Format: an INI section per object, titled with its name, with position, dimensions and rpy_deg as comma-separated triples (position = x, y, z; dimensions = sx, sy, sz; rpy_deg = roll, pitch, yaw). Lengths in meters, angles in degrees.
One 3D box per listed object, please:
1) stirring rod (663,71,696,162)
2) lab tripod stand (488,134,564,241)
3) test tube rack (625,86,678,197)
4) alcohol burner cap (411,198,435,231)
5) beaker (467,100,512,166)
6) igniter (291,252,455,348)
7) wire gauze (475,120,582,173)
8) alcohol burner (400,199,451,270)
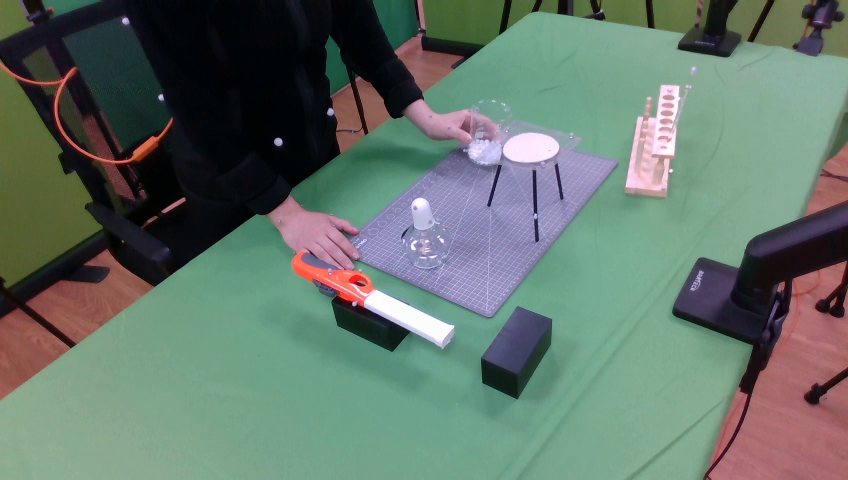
[stirring rod]
position = 0.410, -0.195, 0.981
dimensions = 0.014, 0.177, 0.006
rpy_deg = 12, 50, 14
[lab tripod stand]
position = 0.168, -0.092, 0.972
dimensions = 0.148, 0.132, 0.147
rpy_deg = -5, 41, 5
[test tube rack]
position = 0.412, -0.184, 1.088
dimensions = 0.066, 0.085, 0.242
rpy_deg = 9, 43, 18
[alcohol burner cap]
position = -0.003, -0.040, 0.893
dimensions = 0.034, 0.048, 0.033
rpy_deg = -7, 41, 7
[beaker]
position = 0.119, -0.193, 1.100
dimensions = 0.084, 0.100, 0.073
rpy_deg = -25, 50, -28
[igniter]
position = -0.080, 0.076, 0.822
dimensions = 0.274, 0.025, 0.057
rpy_deg = 23, 45, 27
[wire gauze]
position = 0.161, -0.143, 0.928
dimensions = 0.120, 0.011, 0.125
rpy_deg = 20, 47, 31
[alcohol burner]
position = 0.000, -0.013, 0.917
dimensions = 0.078, 0.119, 0.077
rpy_deg = -5, 41, 5
